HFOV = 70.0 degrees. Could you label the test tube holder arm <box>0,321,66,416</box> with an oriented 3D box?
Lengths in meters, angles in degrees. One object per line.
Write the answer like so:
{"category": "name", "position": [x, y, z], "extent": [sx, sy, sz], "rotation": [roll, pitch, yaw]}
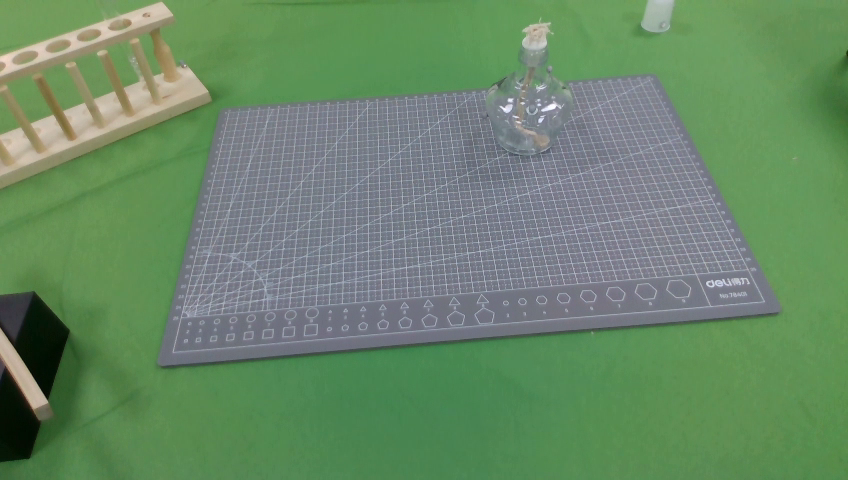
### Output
{"category": "test tube holder arm", "position": [-0.283, 0.056, 0.395], "extent": [0.177, 0.015, 0.013], "rotation": [32, 50, 25]}

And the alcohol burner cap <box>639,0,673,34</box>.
{"category": "alcohol burner cap", "position": [0.263, -0.259, 0.679], "extent": [0.034, 0.048, 0.033], "rotation": [-3, 50, 4]}

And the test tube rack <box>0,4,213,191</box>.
{"category": "test tube rack", "position": [-0.340, -0.135, 0.580], "extent": [0.242, 0.086, 0.066], "rotation": [-30, 54, -20]}

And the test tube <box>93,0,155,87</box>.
{"category": "test tube", "position": [-0.297, -0.212, 0.578], "extent": [0.017, 0.152, 0.017], "rotation": [-5, 49, 6]}

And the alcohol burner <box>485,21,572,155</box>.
{"category": "alcohol burner", "position": [0.093, -0.135, 0.531], "extent": [0.078, 0.120, 0.077], "rotation": [-1, 48, 2]}
